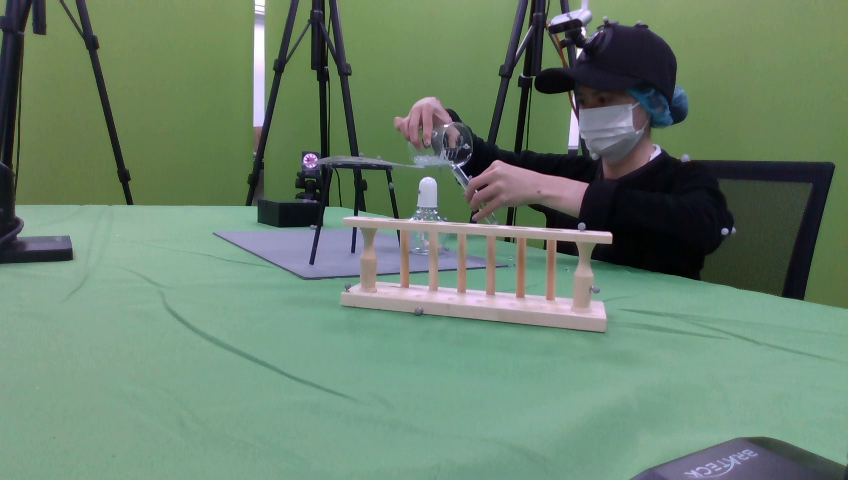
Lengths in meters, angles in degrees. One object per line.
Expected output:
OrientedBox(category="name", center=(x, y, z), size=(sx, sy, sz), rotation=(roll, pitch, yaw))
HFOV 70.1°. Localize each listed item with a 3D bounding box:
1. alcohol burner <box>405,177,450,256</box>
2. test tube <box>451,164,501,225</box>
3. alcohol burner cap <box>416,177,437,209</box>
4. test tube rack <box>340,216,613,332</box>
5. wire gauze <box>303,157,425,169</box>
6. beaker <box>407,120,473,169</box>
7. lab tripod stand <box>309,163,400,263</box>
OrientedBox(category="alcohol burner", center=(0.004, -0.036, 0.917), size=(0.078, 0.119, 0.078), rotation=(3, 6, 0))
OrientedBox(category="test tube", center=(0.084, -0.071, 0.980), size=(0.017, 0.017, 0.149), rotation=(-3, 47, -36))
OrientedBox(category="alcohol burner cap", center=(0.005, -0.072, 0.914), size=(0.034, 0.048, 0.034), rotation=(4, 10, 0))
OrientedBox(category="test tube rack", center=(0.048, 0.026, 0.568), size=(0.242, 0.085, 0.067), rotation=(4, 7, 13))
OrientedBox(category="wire gauze", center=(-0.082, -0.102, 0.799), size=(0.126, 0.011, 0.121), rotation=(-1, 7, -30))
OrientedBox(category="beaker", center=(0.025, -0.163, 1.056), size=(0.074, 0.084, 0.100), rotation=(10, -4, -41))
OrientedBox(category="lab tripod stand", center=(-0.091, -0.037, 0.813), size=(0.148, 0.131, 0.148), rotation=(1, 6, 0))
